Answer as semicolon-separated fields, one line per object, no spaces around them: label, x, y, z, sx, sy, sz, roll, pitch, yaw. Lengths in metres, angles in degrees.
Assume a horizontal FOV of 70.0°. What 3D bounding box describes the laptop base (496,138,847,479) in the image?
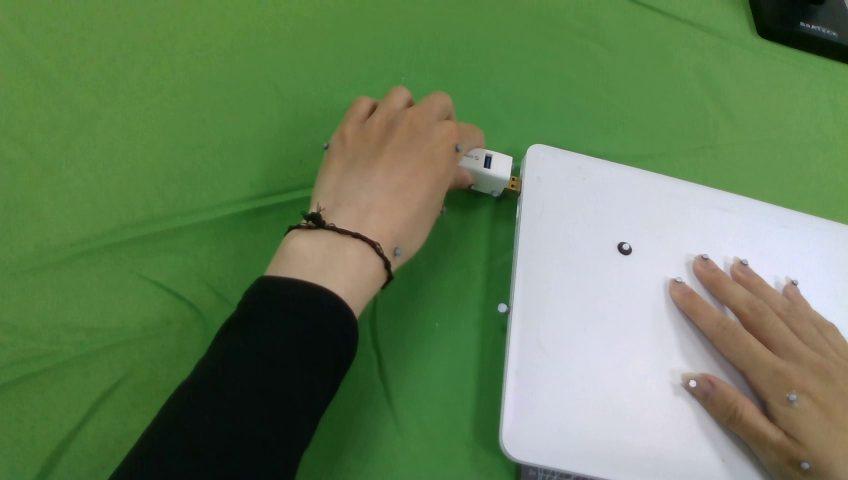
laptop base;0.225;0.063;0.421;0.355;0.023;0.233;14;60;-6

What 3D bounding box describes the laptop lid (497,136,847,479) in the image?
laptop lid;0.227;0.059;0.410;0.357;0.013;0.240;15;59;-5

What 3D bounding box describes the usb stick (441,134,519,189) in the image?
usb stick;0.043;-0.053;0.429;0.059;0.027;0.021;16;61;-12
